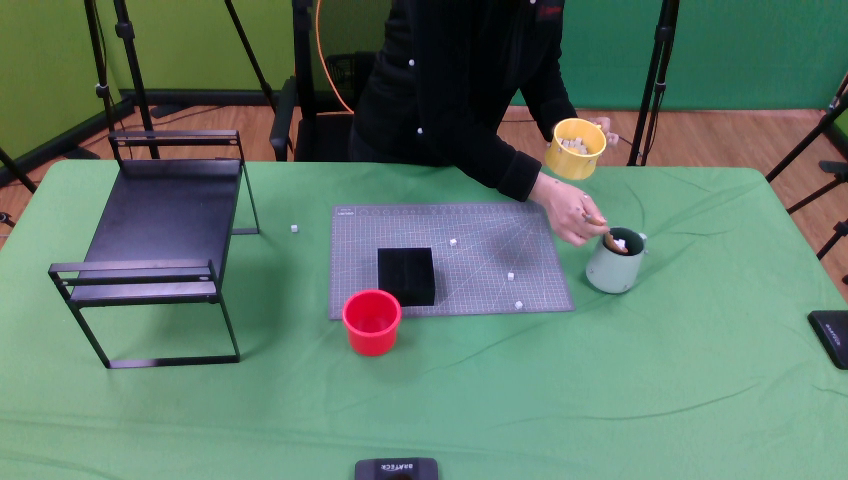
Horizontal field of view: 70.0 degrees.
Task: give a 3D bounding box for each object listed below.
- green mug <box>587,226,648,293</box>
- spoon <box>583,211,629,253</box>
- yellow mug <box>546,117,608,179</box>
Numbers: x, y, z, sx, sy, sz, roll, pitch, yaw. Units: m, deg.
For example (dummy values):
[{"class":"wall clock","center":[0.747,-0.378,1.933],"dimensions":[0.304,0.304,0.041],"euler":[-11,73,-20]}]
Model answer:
[{"class":"green mug","center":[0.372,0.030,1.136],"dimensions":[0.125,0.105,0.092],"euler":[-27,53,-26]},{"class":"spoon","center":[0.310,-0.015,1.039],"dimensions":[0.021,0.195,0.041],"euler":[-50,50,5]},{"class":"yellow mug","center":[0.299,-0.182,1.153],"dimensions":[0.131,0.064,0.099],"euler":[-35,66,-28]}]
